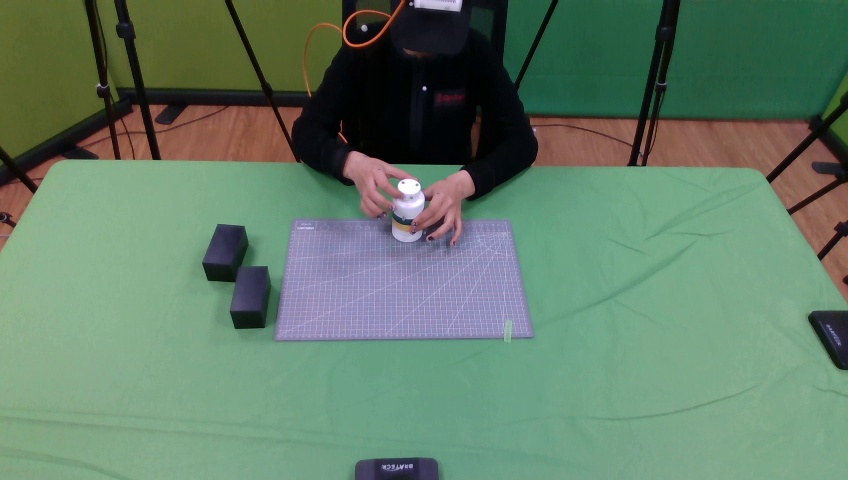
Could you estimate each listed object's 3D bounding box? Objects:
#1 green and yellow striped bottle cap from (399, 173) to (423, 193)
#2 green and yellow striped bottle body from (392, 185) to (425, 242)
[{"bbox_3d":[-0.025,-0.106,1.147,0.045,0.020,0.045,1,54,-1],"label":"green and yellow striped bottle cap"},{"bbox_3d":[-0.030,-0.058,1.178,0.063,0.120,0.063,2,46,-2],"label":"green and yellow striped bottle body"}]
